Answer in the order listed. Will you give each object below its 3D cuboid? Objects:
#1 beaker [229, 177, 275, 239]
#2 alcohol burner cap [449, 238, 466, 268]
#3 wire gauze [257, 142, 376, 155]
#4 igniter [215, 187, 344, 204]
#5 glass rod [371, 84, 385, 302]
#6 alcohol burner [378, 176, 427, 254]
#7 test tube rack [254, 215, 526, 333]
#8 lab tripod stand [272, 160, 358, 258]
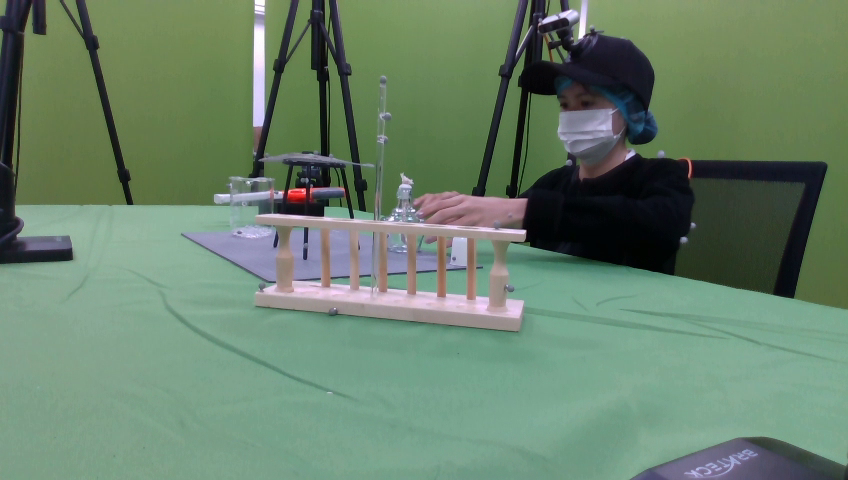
[{"bbox_3d":[-0.292,-0.056,1.023,0.074,0.100,0.083,-1,8,-26],"label":"beaker"},{"bbox_3d":[0.051,0.014,0.828,0.034,0.048,0.034,2,6,0],"label":"alcohol burner cap"},{"bbox_3d":[-0.155,-0.130,0.871,0.124,0.011,0.122,-1,7,36],"label":"wire gauze"},{"bbox_3d":[-0.290,-0.093,1.256,0.278,0.025,0.057,-6,11,-35],"label":"igniter"},{"bbox_3d":[-0.041,-0.041,0.548,0.008,0.199,0.008,2,2,0],"label":"glass rod"},{"bbox_3d":[-0.033,-0.039,0.936,0.078,0.119,0.078,1,6,0],"label":"alcohol burner"},{"bbox_3d":[-0.030,0.025,0.558,0.242,0.085,0.067,4,7,12],"label":"test tube rack"},{"bbox_3d":[-0.159,-0.048,0.876,0.148,0.131,0.148,3,5,0],"label":"lab tripod stand"}]
